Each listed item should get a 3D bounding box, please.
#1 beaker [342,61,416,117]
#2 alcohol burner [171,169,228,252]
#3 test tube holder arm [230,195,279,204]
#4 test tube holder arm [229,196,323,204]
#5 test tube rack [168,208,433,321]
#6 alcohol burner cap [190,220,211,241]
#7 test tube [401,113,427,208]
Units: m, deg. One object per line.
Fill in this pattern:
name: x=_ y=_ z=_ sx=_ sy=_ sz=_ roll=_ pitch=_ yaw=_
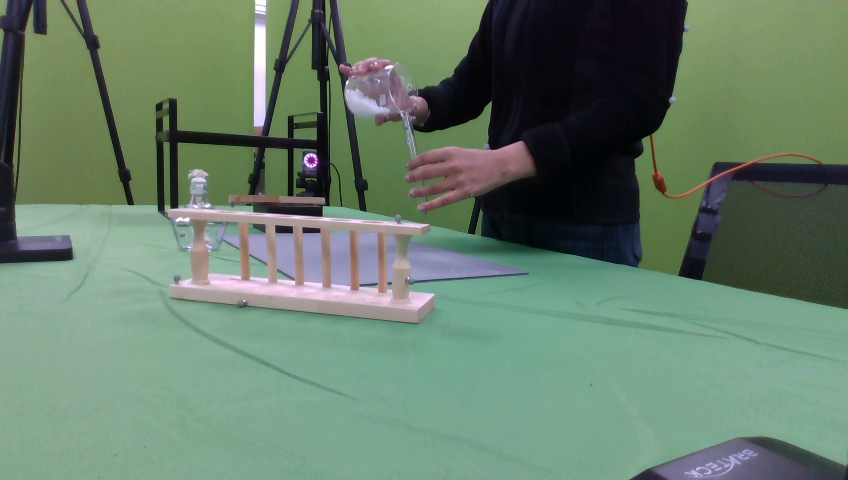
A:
beaker: x=-0.073 y=-0.234 z=0.965 sx=0.100 sy=0.084 sz=0.074 roll=-1 pitch=9 yaw=37
alcohol burner: x=-0.325 y=-0.043 z=0.875 sx=0.078 sy=0.119 sz=0.078 roll=0 pitch=7 yaw=0
test tube holder arm: x=-0.311 y=-0.075 z=1.115 sx=0.088 sy=0.015 sz=0.010 roll=-2 pitch=1 yaw=-32
test tube holder arm: x=-0.276 y=-0.076 z=1.144 sx=0.179 sy=0.015 sz=0.013 roll=-2 pitch=1 yaw=-33
test tube rack: x=-0.115 y=0.017 z=0.574 sx=0.242 sy=0.085 sz=0.067 roll=4 pitch=8 yaw=14
alcohol burner cap: x=-0.365 y=-0.023 z=0.988 sx=0.034 sy=0.048 sz=0.034 roll=1 pitch=7 yaw=0
test tube: x=-0.015 y=-0.123 z=0.941 sx=0.017 sy=0.150 sz=0.017 roll=-11 pitch=-1 yaw=0
